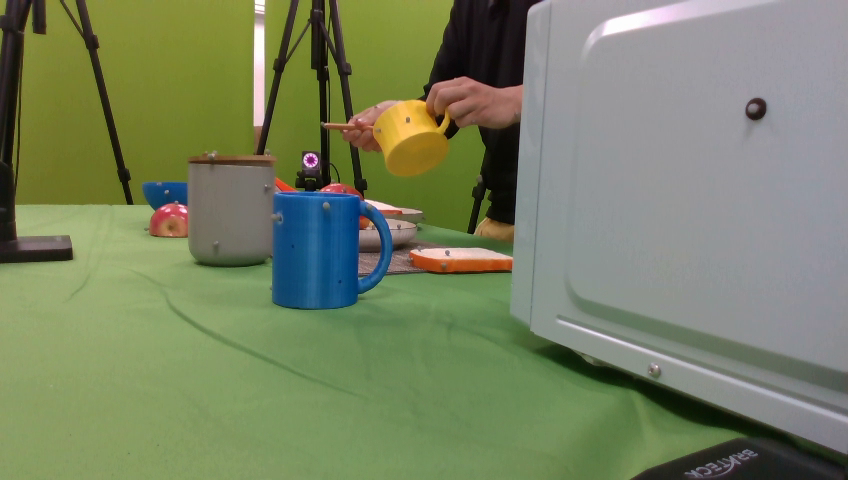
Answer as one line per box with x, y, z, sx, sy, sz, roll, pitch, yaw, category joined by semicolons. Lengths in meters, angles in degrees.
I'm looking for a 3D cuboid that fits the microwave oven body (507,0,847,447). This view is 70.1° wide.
0.331;-0.042;0.425;0.444;0.260;0.324;-2;8;-31;microwave oven body

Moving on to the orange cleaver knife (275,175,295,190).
-0.283;-0.087;1.343;0.212;0.077;0.012;24;-16;-41;orange cleaver knife

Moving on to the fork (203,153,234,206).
-0.480;-0.136;1.412;0.028;0.018;0.207;0;-34;-1;fork

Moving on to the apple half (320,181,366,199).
-0.129;-0.077;0.952;0.081;0.033;0.081;3;14;0;apple half

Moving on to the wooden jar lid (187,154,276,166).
-0.244;-0.097;0.771;0.108;0.020;0.108;-1;7;0;wooden jar lid

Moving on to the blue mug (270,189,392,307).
-0.090;0.005;0.588;0.117;0.106;0.082;1;7;-11;blue mug

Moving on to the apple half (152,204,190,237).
-0.415;-0.034;1.017;0.081;0.053;0.074;1;10;-9;apple half

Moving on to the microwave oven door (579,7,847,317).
0.294;-0.067;0.570;0.358;0.243;0.039;-3;9;-31;microwave oven door

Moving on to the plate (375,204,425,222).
-0.102;-0.053;1.299;0.209;0.038;0.209;2;8;0;plate

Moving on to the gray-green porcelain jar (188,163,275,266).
-0.246;-0.034;0.780;0.106;0.126;0.106;2;7;0;gray-green porcelain jar

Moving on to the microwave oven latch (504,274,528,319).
0.100;0.041;0.471;0.079;0.029;0.030;-1;7;-27;microwave oven latch

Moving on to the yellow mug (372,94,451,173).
-0.010;-0.166;0.900;0.130;0.064;0.100;-38;-29;29;yellow mug

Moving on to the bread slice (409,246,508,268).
0.048;0.022;0.816;0.132;0.019;0.104;0;6;-24;bread slice

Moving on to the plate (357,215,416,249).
-0.116;-0.014;0.967;0.208;0.039;0.207;2;8;0;plate

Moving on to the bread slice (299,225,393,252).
-0.118;-0.004;0.969;0.106;0.018;0.135;3;13;40;bread slice

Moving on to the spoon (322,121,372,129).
-0.071;-0.171;0.941;0.193;0.021;0.042;14;11;18;spoon

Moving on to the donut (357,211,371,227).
-0.132;-0.041;0.959;0.099;0.048;0.099;3;8;0;donut

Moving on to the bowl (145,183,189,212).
-0.459;-0.069;1.175;0.151;0.077;0.151;2;7;0;bowl
